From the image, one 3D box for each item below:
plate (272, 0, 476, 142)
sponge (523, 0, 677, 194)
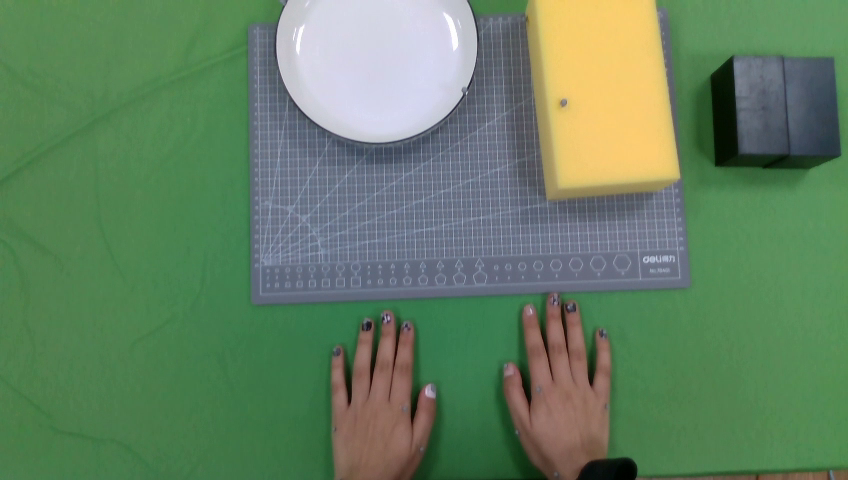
[{"bbox_3d":[-0.050,-0.200,0.630,0.209,0.038,0.208,0,84,0],"label":"plate"},{"bbox_3d":[0.173,-0.157,0.613,0.118,0.061,0.206,-6,84,0],"label":"sponge"}]
